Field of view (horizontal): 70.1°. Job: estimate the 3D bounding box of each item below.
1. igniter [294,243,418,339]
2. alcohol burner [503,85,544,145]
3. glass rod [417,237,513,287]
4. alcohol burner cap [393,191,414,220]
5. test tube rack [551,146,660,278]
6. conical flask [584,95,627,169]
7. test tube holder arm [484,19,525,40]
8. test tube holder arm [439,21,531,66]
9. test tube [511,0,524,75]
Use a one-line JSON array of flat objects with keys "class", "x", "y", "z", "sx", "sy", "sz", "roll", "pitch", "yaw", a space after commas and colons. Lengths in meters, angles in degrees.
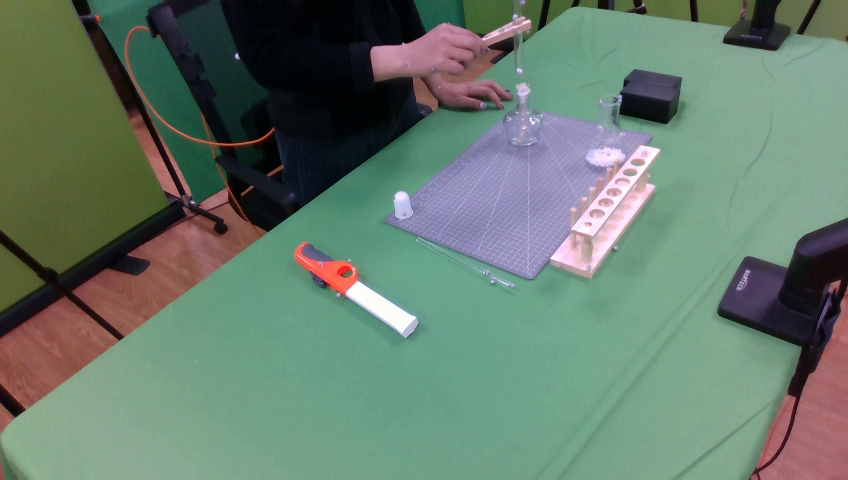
[{"class": "igniter", "x": -0.114, "y": 0.070, "z": 0.919, "sx": 0.274, "sy": 0.025, "sz": 0.057, "roll": 29, "pitch": 63, "yaw": 37}, {"class": "alcohol burner", "x": 0.191, "y": -0.243, "z": 1.160, "sx": 0.078, "sy": 0.119, "sz": 0.077, "roll": -4, "pitch": 40, "yaw": 4}, {"class": "glass rod", "x": 0.059, "y": 0.033, "z": 0.945, "sx": 0.198, "sy": 0.008, "sz": 0.008, "roll": 26, "pitch": 52, "yaw": 38}, {"class": "alcohol burner cap", "x": -0.037, "y": -0.062, "z": 1.045, "sx": 0.034, "sy": 0.048, "sz": 0.033, "roll": -5, "pitch": 40, "yaw": 5}, {"class": "test tube rack", "x": 0.286, "y": -0.053, "z": 0.944, "sx": 0.066, "sy": 0.085, "sz": 0.243, "roll": 21, "pitch": 49, "yaw": 32}, {"class": "conical flask", "x": 0.324, "y": -0.192, "z": 1.066, "sx": 0.075, "sy": 0.122, "sz": 0.075, "roll": -6, "pitch": 40, "yaw": 5}, {"class": "test tube holder arm", "x": 0.139, "y": -0.356, "z": 1.037, "sx": 0.088, "sy": 0.015, "sz": 0.010, "roll": -32, "pitch": 44, "yaw": -20}, {"class": "test tube holder arm", "x": 0.104, "y": -0.332, "z": 1.020, "sx": 0.179, "sy": 0.015, "sz": 0.013, "roll": -28, "pitch": 42, "yaw": -15}, {"class": "test tube", "x": 0.163, "y": -0.355, "z": 1.051, "sx": 0.017, "sy": 0.151, "sz": 0.017, "roll": -6, "pitch": 46, "yaw": 7}]
